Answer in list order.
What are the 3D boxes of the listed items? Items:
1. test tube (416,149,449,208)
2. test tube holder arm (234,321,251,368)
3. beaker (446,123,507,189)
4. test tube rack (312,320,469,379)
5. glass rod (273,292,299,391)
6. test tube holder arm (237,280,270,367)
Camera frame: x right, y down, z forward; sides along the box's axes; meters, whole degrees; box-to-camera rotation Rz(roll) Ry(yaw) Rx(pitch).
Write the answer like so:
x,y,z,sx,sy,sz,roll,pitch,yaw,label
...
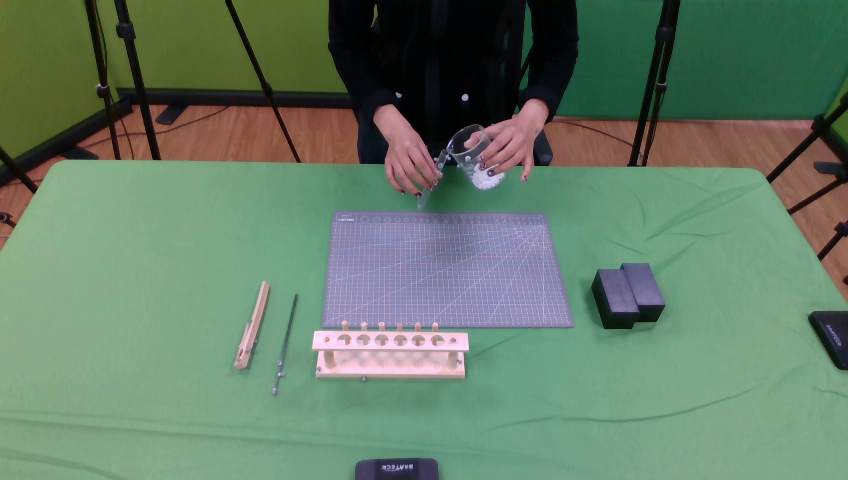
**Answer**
x,y,z,sx,sy,sz,roll,pitch,yaw,label
0.014,-0.112,1.133,0.017,0.150,0.017,12,48,-14,test tube
-0.299,0.173,1.013,0.010,0.015,0.087,-16,42,22,test tube holder arm
0.096,-0.145,1.081,0.084,0.101,0.073,-11,45,34,beaker
-0.054,0.173,0.984,0.242,0.085,0.066,1,46,-3,test tube rack
-0.233,0.167,1.030,0.008,0.008,0.198,3,46,0,glass rod
-0.290,0.139,1.042,0.013,0.015,0.177,-17,42,22,test tube holder arm
